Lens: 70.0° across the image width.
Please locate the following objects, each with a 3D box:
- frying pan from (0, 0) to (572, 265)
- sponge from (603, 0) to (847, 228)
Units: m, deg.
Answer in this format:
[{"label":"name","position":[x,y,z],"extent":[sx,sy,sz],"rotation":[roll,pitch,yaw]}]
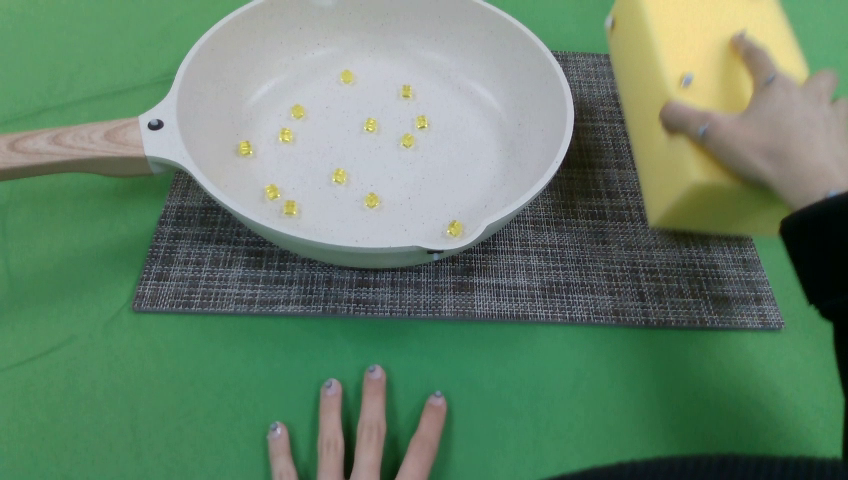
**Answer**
[{"label":"frying pan","position":[-0.133,-0.080,0.432],"extent":[0.489,0.103,0.303],"rotation":[-10,55,-21]},{"label":"sponge","position":[0.213,-0.114,0.443],"extent":[0.118,0.061,0.205],"rotation":[2,62,-8]}]
